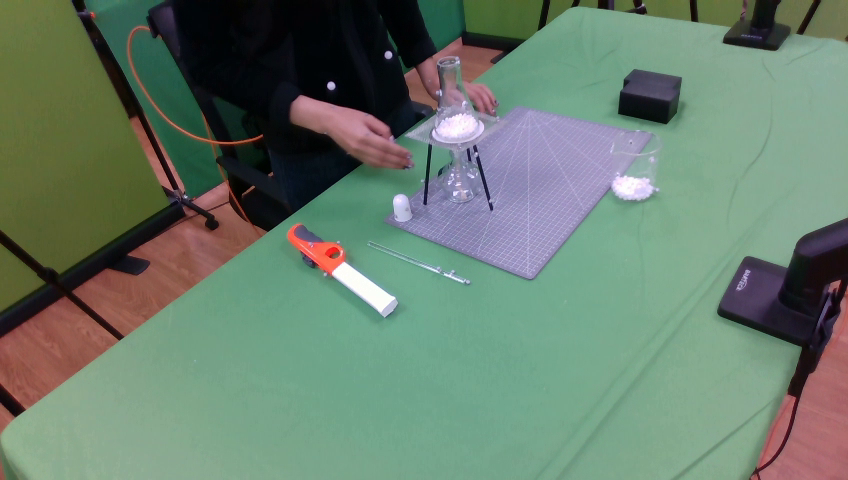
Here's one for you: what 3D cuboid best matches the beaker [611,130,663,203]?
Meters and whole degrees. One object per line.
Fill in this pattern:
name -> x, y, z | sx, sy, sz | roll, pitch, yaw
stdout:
beaker -> 0.346, -0.118, 0.998 | 0.084, 0.101, 0.073 | -17, 40, -7

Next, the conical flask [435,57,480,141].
conical flask -> 0.046, -0.225, 0.955 | 0.075, 0.122, 0.075 | -7, 39, 6

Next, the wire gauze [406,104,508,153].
wire gauze -> 0.054, -0.183, 0.997 | 0.120, 0.011, 0.125 | 26, 53, 38

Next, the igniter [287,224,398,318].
igniter -> -0.139, 0.042, 0.958 | 0.057, 0.025, 0.274 | -42, 49, -19

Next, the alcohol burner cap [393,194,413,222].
alcohol burner cap -> -0.039, -0.057, 1.038 | 0.034, 0.048, 0.033 | -6, 41, 6

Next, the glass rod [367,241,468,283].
glass rod -> -0.014, 0.032, 0.960 | 0.198, 0.008, 0.008 | 21, 49, 30

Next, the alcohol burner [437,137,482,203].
alcohol burner -> 0.060, -0.125, 1.045 | 0.078, 0.119, 0.077 | -5, 38, 4

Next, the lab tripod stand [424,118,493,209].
lab tripod stand -> 0.061, -0.133, 1.039 | 0.148, 0.132, 0.147 | -6, 38, 6
